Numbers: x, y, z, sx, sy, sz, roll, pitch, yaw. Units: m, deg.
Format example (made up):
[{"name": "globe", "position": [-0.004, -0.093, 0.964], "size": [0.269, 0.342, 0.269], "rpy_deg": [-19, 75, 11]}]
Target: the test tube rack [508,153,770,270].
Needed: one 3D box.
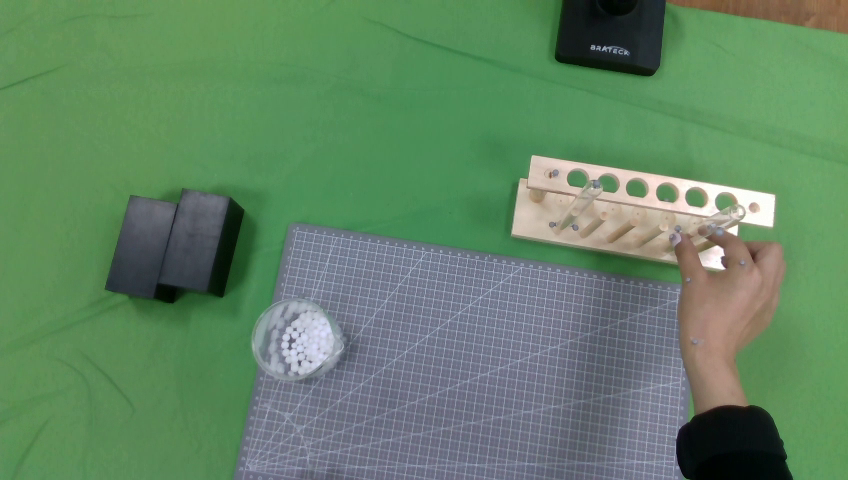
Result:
[{"name": "test tube rack", "position": [0.218, -0.027, 0.636], "size": [0.242, 0.085, 0.066], "rpy_deg": [9, 78, 1]}]

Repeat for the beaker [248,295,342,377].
[{"name": "beaker", "position": [-0.118, 0.097, 0.594], "size": [0.084, 0.100, 0.073], "rpy_deg": [9, 78, 1]}]

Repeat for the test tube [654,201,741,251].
[{"name": "test tube", "position": [0.261, -0.011, 0.587], "size": [0.017, 0.151, 0.017], "rpy_deg": [1, 77, -3]}]

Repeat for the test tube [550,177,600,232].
[{"name": "test tube", "position": [0.145, -0.032, 0.590], "size": [0.017, 0.151, 0.017], "rpy_deg": [0, 77, 0]}]
